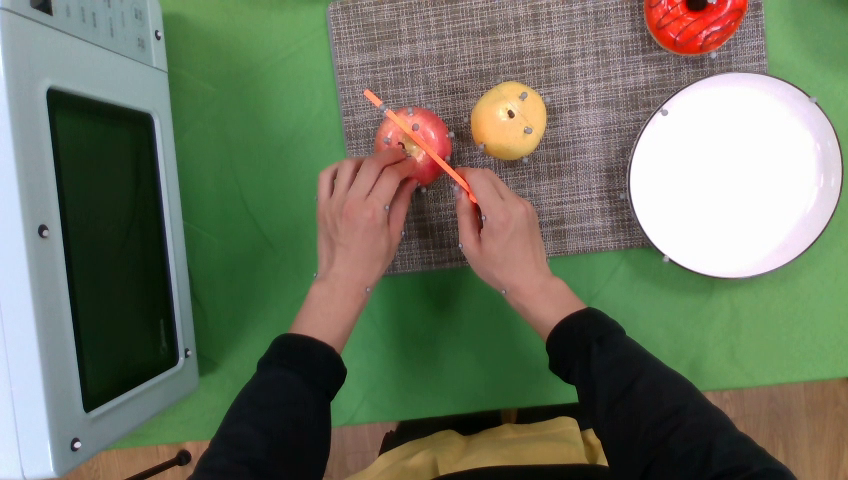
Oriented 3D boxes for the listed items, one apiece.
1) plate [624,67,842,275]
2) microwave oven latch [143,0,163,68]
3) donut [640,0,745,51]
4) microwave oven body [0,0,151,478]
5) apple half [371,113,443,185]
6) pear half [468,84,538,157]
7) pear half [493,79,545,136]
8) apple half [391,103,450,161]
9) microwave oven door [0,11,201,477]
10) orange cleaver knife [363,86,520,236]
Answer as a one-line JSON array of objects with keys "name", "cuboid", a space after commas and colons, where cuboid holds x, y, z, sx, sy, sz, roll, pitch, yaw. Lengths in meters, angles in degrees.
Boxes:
[{"name": "plate", "cuboid": [0.310, -0.069, 0.622, 0.209, 0.038, 0.209, 0, 95, 5]}, {"name": "microwave oven latch", "cuboid": [-0.301, -0.227, 0.648, 0.030, 0.029, 0.079, -3, 96, 5]}, {"name": "donut", "cuboid": [0.267, -0.240, 0.607, 0.099, 0.048, 0.099, 1, 96, 8]}, {"name": "microwave oven body", "cuboid": [-0.444, -0.033, 0.583, 0.326, 0.260, 0.442, -4, 95, 5]}, {"name": "apple half", "cuboid": [-0.024, -0.089, 0.633, 0.053, 0.074, 0.081, -44, 94, 10]}, {"name": "pear half", "cuboid": [0.074, -0.115, 0.603, 0.076, 0.110, 0.056, 43, 97, 5]}, {"name": "pear half", "cuboid": [0.100, -0.140, 0.608, 0.070, 0.088, 0.031, 43, 97, 6]}, {"name": "apple half", "cuboid": [0.004, -0.117, 0.627, 0.081, 0.081, 0.033, 45, 98, 1]}, {"name": "microwave oven door", "cuboid": [-0.297, 0.000, 0.567, 0.039, 0.243, 0.356, -4, 94, 6]}, {"name": "orange cleaver knife", "cuboid": [0.021, -0.070, 0.572, 0.012, 0.076, 0.213, -47, 129, 7]}]
